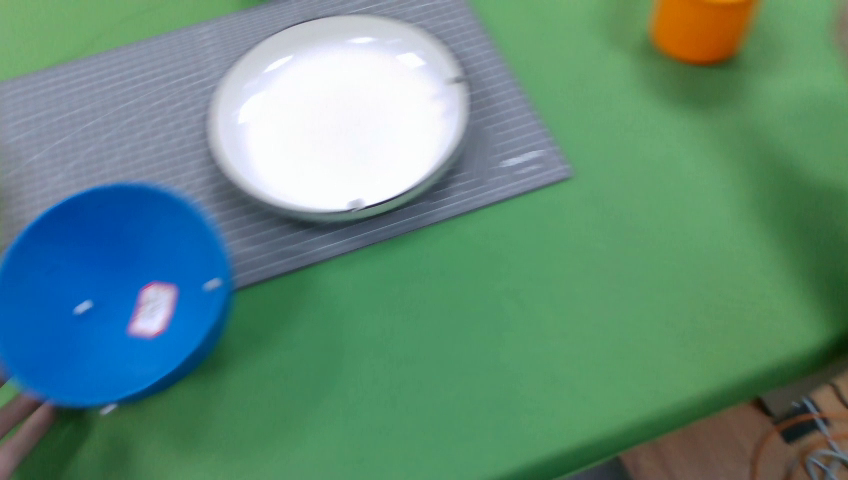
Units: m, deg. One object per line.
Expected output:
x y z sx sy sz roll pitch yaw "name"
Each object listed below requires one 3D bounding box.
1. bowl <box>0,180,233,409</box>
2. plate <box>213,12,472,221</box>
-0.193 0.043 0.407 0.151 0.077 0.150 -1 66 3 "bowl"
-0.064 -0.101 0.496 0.209 0.038 0.207 -2 61 4 "plate"
